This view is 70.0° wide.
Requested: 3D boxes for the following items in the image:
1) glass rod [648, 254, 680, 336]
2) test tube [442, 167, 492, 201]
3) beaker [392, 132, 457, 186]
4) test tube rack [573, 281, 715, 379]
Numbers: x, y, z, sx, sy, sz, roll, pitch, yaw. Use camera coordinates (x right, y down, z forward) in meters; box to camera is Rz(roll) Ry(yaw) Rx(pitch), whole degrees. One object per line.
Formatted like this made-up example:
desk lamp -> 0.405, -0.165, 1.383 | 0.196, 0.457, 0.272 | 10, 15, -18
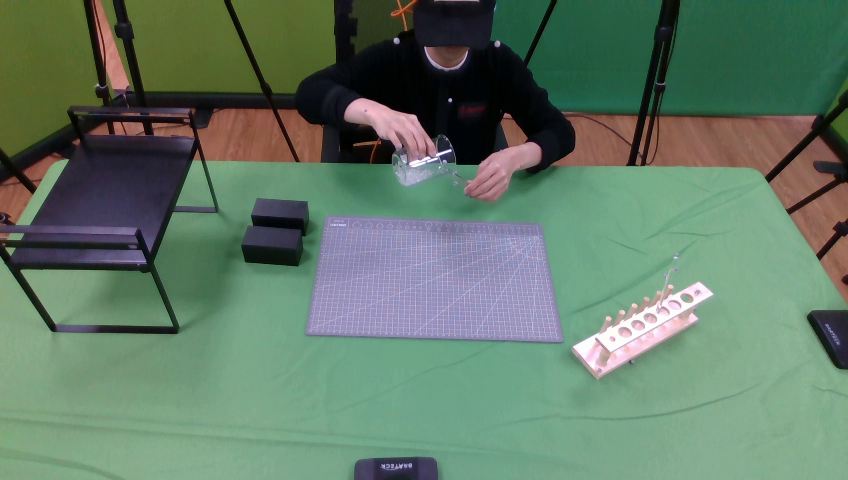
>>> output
glass rod -> 0.390, 0.094, 0.991 | 0.008, 0.201, 0.008 | -1, 44, 2
test tube -> 0.088, -0.108, 1.193 | 0.151, 0.017, 0.017 | 25, 28, -45
beaker -> -0.001, -0.142, 1.100 | 0.100, 0.084, 0.073 | -21, 47, -19
test tube rack -> 0.378, 0.140, 1.038 | 0.242, 0.085, 0.066 | -22, 51, -22
